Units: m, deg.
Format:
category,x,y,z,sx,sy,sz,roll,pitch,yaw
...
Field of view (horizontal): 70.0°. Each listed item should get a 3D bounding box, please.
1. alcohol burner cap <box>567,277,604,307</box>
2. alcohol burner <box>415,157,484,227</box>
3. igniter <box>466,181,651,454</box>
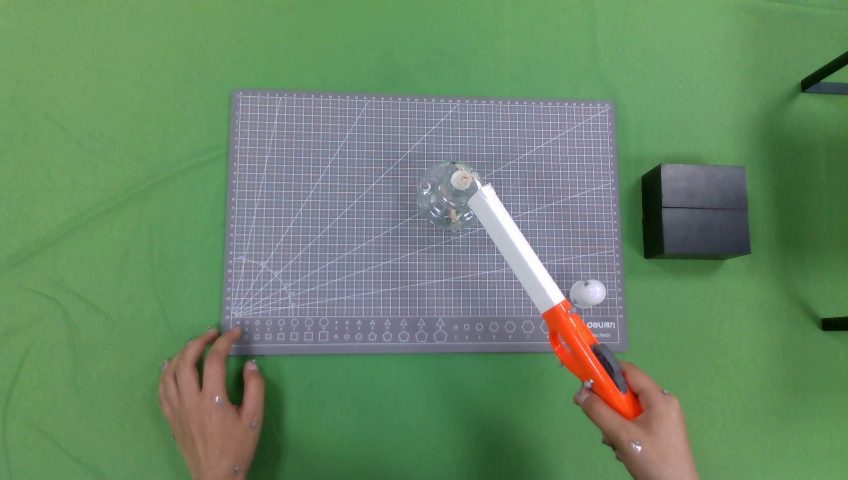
category,x,y,z,sx,sy,sz,roll,pitch,yaw
alcohol burner cap,0.182,0.057,0.674,0.034,0.048,0.033,1,80,-5
alcohol burner,0.031,-0.054,0.640,0.078,0.119,0.077,1,81,-7
igniter,0.121,0.068,0.551,0.025,0.057,0.275,-25,79,-33
